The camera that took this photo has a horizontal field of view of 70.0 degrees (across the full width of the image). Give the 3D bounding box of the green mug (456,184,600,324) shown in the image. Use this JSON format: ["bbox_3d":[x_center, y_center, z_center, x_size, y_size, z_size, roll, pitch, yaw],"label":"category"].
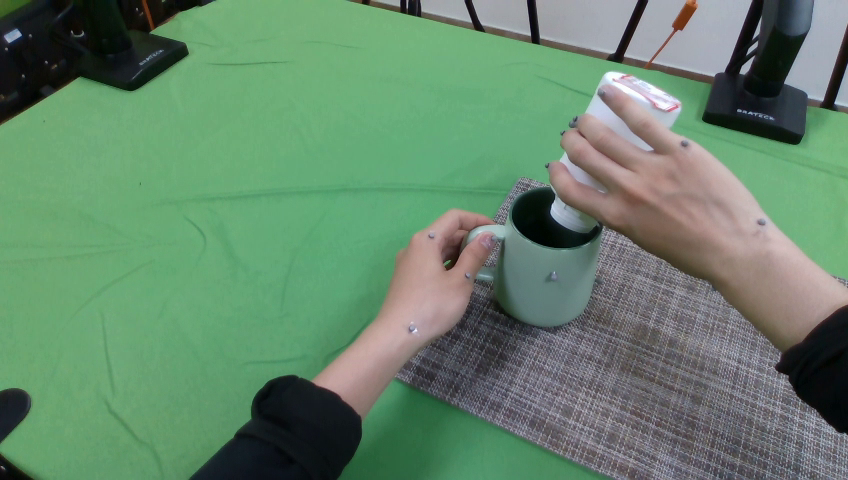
[{"bbox_3d":[0.091,0.014,0.544,0.125,0.106,0.091,0,47,1],"label":"green mug"}]

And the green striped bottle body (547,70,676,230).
[{"bbox_3d":[0.140,-0.067,0.480,0.063,0.120,0.062,16,31,-10],"label":"green striped bottle body"}]
